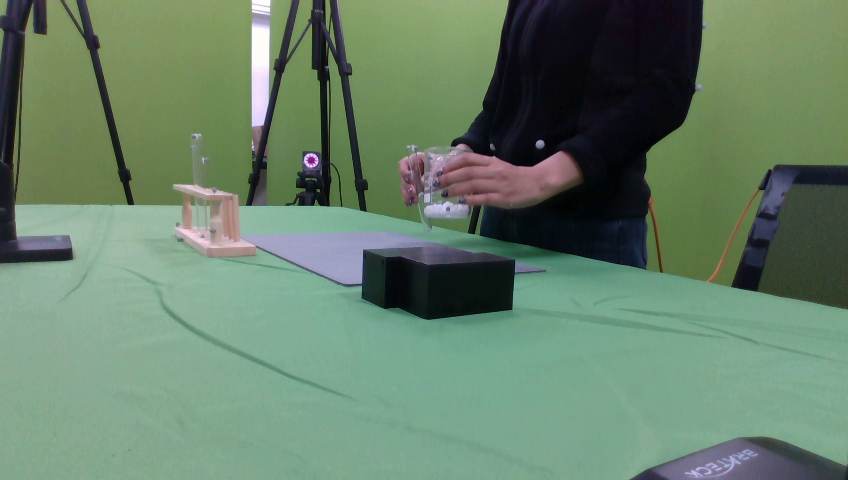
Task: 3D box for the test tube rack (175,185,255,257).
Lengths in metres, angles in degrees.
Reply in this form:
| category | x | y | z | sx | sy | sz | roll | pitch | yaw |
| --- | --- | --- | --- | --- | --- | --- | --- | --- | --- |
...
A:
| category | x | y | z | sx | sy | sz | roll | pitch | yaw |
| --- | --- | --- | --- | --- | --- | --- | --- | --- | --- |
| test tube rack | -0.324 | -0.035 | 0.922 | 0.067 | 0.085 | 0.241 | -2 | 9 | -31 |

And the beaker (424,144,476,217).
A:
| category | x | y | z | sx | sy | sz | roll | pitch | yaw |
| --- | --- | --- | --- | --- | --- | --- | --- | --- | --- |
| beaker | 0.034 | -0.085 | 0.888 | 0.074 | 0.100 | 0.083 | 2 | -2 | -38 |

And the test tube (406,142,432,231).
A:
| category | x | y | z | sx | sy | sz | roll | pitch | yaw |
| --- | --- | --- | --- | --- | --- | --- | --- | --- | --- |
| test tube | -0.007 | -0.087 | 0.997 | 0.017 | 0.150 | 0.017 | -11 | 15 | 3 |

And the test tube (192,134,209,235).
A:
| category | x | y | z | sx | sy | sz | roll | pitch | yaw |
| --- | --- | --- | --- | --- | --- | --- | --- | --- | --- |
| test tube | -0.332 | -0.082 | 0.898 | 0.017 | 0.150 | 0.017 | -2 | 6 | 0 |
